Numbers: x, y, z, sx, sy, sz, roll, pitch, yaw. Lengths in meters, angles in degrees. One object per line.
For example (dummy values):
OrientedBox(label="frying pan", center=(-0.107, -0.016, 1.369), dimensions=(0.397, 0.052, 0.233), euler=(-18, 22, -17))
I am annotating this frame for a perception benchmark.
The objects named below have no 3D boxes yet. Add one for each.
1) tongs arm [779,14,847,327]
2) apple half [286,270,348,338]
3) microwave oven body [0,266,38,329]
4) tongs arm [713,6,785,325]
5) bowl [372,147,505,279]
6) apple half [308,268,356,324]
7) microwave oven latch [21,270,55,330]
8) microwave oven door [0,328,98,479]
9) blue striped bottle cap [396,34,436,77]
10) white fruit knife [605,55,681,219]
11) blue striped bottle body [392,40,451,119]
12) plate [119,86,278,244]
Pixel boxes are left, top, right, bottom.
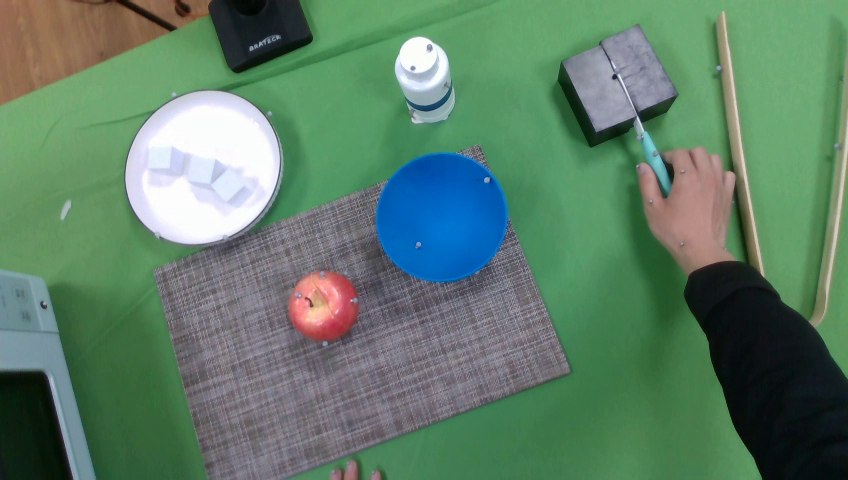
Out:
OrientedBox(label="tongs arm", center=(0.454, -0.089, 0.697), dimensions=(0.050, 0.026, 0.383), euler=(8, 82, 9))
OrientedBox(label="apple half", center=(-0.131, 0.082, 0.712), dimensions=(0.053, 0.075, 0.080), euler=(-36, 81, 3))
OrientedBox(label="microwave oven body", center=(-0.576, 0.276, 0.635), dimensions=(0.326, 0.261, 0.439), euler=(-22, 79, 2))
OrientedBox(label="tongs arm", center=(0.374, -0.093, 0.711), dimensions=(0.028, 0.028, 0.386), euler=(-4, 80, 4))
OrientedBox(label="bowl", center=(0.020, -0.025, 0.710), dimensions=(0.151, 0.077, 0.151), euler=(-1, 80, 7))
OrientedBox(label="apple half", center=(-0.099, 0.059, 0.712), dimensions=(0.033, 0.081, 0.081), euler=(-36, 78, 2))
OrientedBox(label="microwave oven latch", center=(-0.492, 0.078, 0.759), dimensions=(0.030, 0.029, 0.079), euler=(-22, 79, 2))
OrientedBox(label="microwave oven door", center=(-0.426, 0.258, 0.616), dimensions=(0.039, 0.245, 0.354), euler=(-23, 78, 2))
OrientedBox(label="blue striped bottle cap", center=(-0.010, -0.206, 0.675), dimensions=(0.044, 0.021, 0.044), euler=(-1, 79, 5))
OrientedBox(label="white fruit knife", center=(0.253, -0.121, 0.709), dimensions=(0.016, 0.027, 0.207), euler=(-24, 89, 2))
OrientedBox(label="blue striped bottle body", center=(-0.002, -0.196, 0.725), dimensions=(0.063, 0.121, 0.063), euler=(-1, 79, 7))
OrientedBox(label="plate", center=(-0.286, -0.094, 0.784), dimensions=(0.207, 0.039, 0.207), euler=(-1, 80, 6))
